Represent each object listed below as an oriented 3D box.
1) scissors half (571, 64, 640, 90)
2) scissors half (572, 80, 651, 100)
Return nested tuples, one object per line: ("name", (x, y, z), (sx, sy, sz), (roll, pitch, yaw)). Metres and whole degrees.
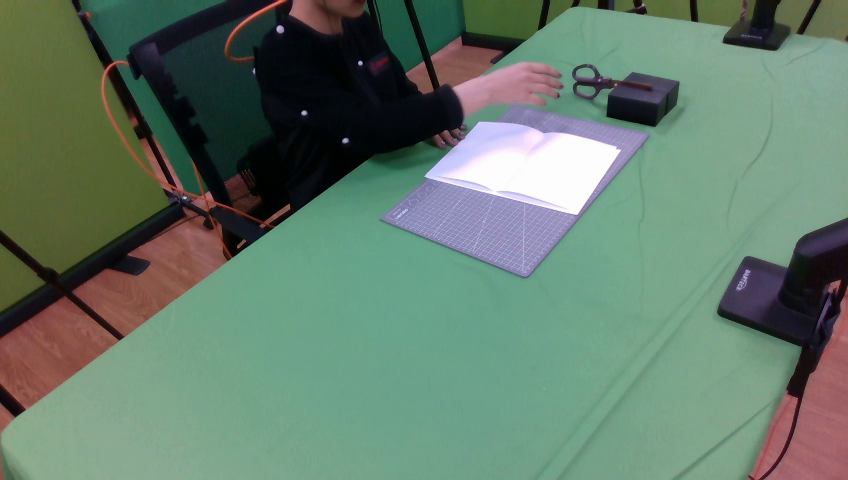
("scissors half", (0.378, -0.327, 1.229), (0.174, 0.040, 0.013), (25, 49, 33))
("scissors half", (0.382, -0.309, 1.239), (0.174, 0.040, 0.013), (9, 33, 45))
